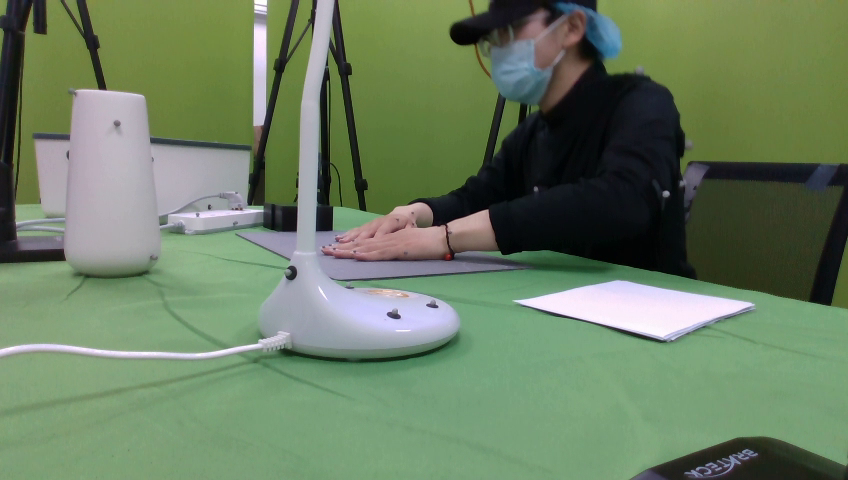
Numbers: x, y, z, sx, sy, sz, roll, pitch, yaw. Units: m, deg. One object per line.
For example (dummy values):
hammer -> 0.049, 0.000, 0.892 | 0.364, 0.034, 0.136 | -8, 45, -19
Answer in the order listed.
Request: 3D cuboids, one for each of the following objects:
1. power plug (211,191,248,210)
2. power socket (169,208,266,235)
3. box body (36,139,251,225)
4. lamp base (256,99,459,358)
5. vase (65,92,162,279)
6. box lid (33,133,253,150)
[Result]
power plug -> -0.384, -0.071, 1.205 | 0.072, 0.052, 0.035 | 1, 9, 28
power socket -> -0.379, -0.038, 1.129 | 0.072, 0.032, 0.227 | 4, 8, 18
box body -> -0.558, -0.126, 1.257 | 0.253, 0.160, 0.365 | 4, 8, 15
lamp base -> -0.055, -0.013, 0.463 | 0.160, 0.180, 0.180 | 6, 11, 27
vase -> -0.347, -0.060, 0.673 | 0.098, 0.200, 0.098 | 1, 7, 0
box lid -> -0.555, -0.199, 1.249 | 0.263, 0.015, 0.372 | 5, 8, 15
